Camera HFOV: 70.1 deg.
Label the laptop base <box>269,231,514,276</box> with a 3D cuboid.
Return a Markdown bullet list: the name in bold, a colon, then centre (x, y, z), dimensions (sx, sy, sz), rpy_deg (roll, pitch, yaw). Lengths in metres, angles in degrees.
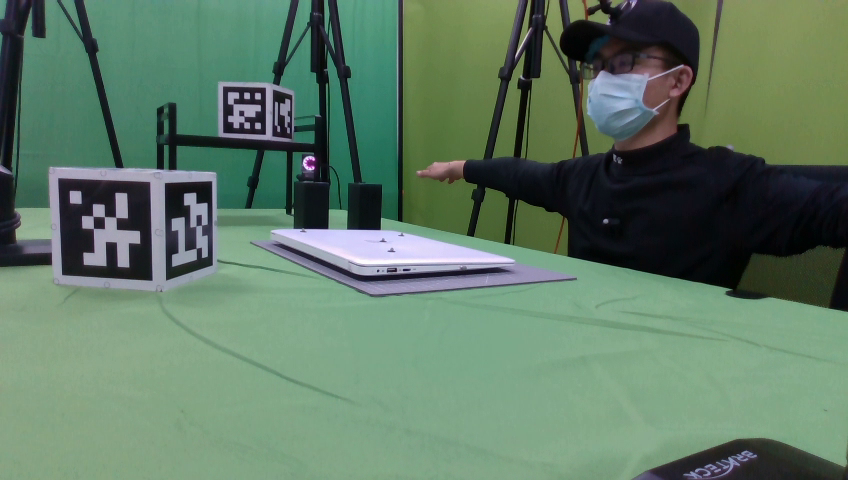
- **laptop base**: centre (-0.066, 0.017, 0.893), dimensions (0.237, 0.023, 0.352), rpy_deg (1, 6, -32)

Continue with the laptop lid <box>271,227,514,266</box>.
- **laptop lid**: centre (-0.063, 0.005, 0.893), dimensions (0.243, 0.013, 0.355), rpy_deg (1, 7, -30)
